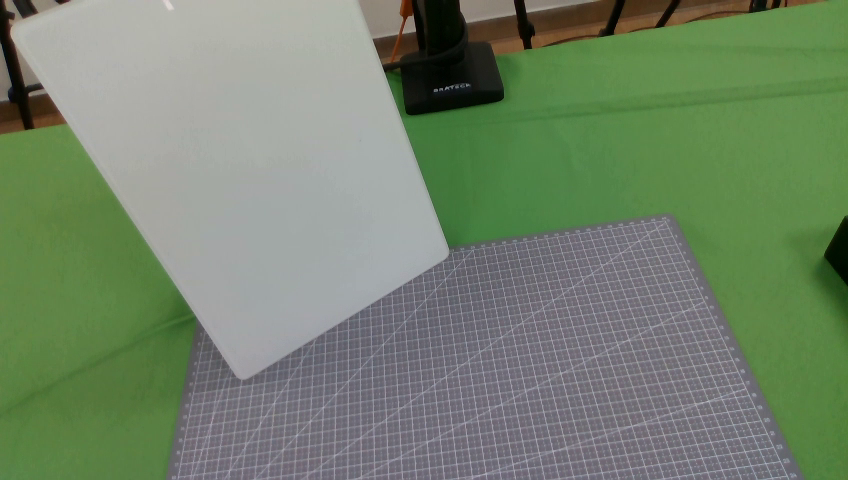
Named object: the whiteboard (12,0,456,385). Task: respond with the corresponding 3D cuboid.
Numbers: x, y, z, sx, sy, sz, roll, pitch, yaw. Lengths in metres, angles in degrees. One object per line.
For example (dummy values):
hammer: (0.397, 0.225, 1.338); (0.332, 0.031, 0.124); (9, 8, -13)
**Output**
whiteboard: (-0.137, -0.077, 0.515); (0.217, 0.308, 0.142); (-30, 30, -15)
